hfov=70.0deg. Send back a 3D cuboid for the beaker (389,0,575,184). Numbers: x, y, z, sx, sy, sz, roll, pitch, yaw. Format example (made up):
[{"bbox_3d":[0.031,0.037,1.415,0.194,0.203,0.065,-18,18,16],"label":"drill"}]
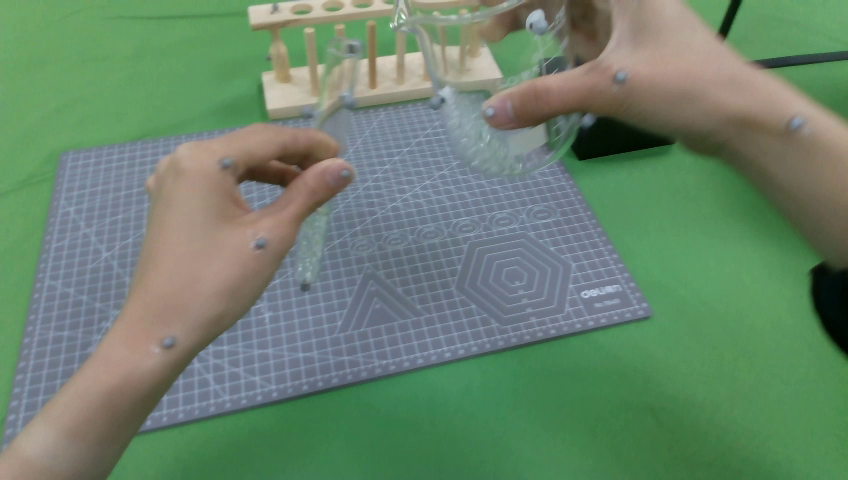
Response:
[{"bbox_3d":[0.033,-0.083,0.298,0.084,0.101,0.073,-29,48,-6],"label":"beaker"}]

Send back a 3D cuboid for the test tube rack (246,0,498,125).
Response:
[{"bbox_3d":[-0.046,-0.188,0.614,0.243,0.086,0.066,-11,50,-11],"label":"test tube rack"}]

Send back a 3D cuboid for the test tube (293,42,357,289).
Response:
[{"bbox_3d":[-0.053,-0.028,0.309,0.017,0.151,0.017,10,41,-9],"label":"test tube"}]
